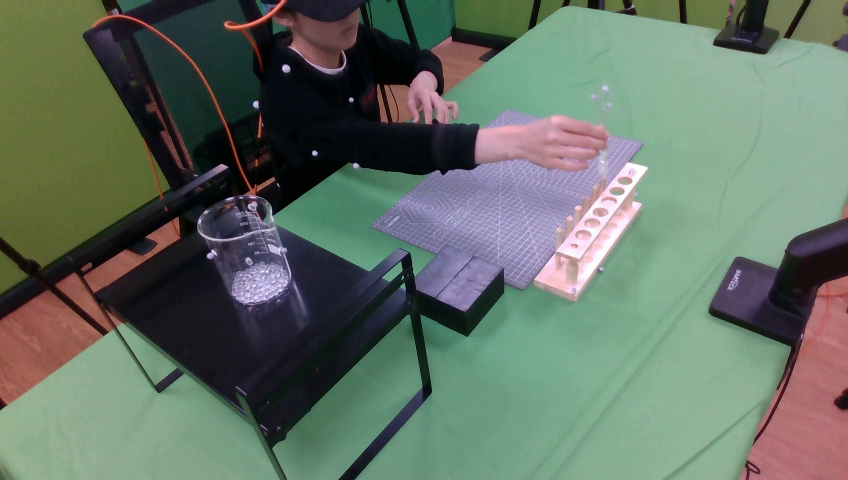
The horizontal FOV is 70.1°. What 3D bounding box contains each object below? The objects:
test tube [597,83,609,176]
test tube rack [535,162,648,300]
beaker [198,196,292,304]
[{"bbox_3d":[0.252,-0.152,0.850,0.017,0.151,0.017,-8,42,8],"label":"test tube"},{"bbox_3d":[0.257,-0.024,0.916,0.066,0.085,0.243,22,49,30],"label":"test tube rack"},{"bbox_3d":[-0.185,0.014,0.651,0.083,0.101,0.074,9,44,18],"label":"beaker"}]
